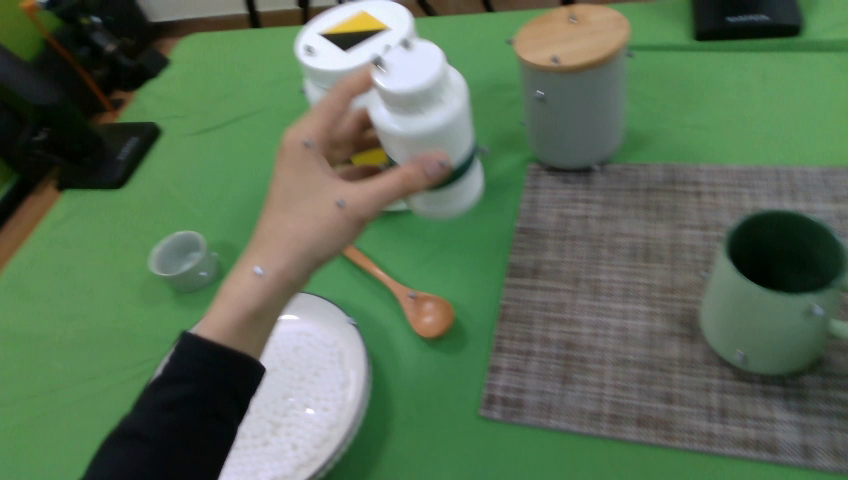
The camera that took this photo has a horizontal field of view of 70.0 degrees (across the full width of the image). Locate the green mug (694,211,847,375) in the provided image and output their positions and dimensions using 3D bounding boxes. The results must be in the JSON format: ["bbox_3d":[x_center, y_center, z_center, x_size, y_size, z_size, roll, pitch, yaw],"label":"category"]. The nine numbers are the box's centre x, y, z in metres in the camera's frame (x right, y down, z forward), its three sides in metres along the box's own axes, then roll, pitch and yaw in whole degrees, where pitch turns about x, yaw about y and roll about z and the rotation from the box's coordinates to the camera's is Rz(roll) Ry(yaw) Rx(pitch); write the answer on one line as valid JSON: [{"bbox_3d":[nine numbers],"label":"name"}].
[{"bbox_3d":[0.273,0.045,0.451,0.124,0.106,0.092,12,54,23],"label":"green mug"}]

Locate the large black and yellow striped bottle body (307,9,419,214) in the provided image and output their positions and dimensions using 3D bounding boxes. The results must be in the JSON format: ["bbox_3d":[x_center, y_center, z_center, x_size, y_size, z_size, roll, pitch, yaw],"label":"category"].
[{"bbox_3d":[-0.045,-0.132,0.640,0.130,0.186,0.129,-8,49,9],"label":"large black and yellow striped bottle body"}]

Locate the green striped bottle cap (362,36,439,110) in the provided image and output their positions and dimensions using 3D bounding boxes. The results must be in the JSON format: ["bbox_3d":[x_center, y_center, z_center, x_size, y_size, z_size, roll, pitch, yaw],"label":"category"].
[{"bbox_3d":[-0.014,-0.099,0.359,0.044,0.020,0.044,-5,60,10],"label":"green striped bottle cap"}]

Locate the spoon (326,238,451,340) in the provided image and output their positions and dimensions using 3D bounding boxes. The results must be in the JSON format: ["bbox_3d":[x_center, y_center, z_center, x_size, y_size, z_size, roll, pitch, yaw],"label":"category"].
[{"bbox_3d":[-0.042,0.040,0.601,0.192,0.022,0.041,35,84,35],"label":"spoon"}]

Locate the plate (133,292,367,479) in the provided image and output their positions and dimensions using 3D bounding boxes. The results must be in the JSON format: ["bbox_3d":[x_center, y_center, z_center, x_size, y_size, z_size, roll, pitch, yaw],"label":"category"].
[{"bbox_3d":[-0.148,0.140,0.535,0.209,0.038,0.207,-7,49,9],"label":"plate"}]

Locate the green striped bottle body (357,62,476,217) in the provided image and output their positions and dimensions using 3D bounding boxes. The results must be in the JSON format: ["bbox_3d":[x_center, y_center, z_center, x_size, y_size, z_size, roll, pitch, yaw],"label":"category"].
[{"bbox_3d":[-0.004,-0.072,0.403,0.063,0.120,0.062,-6,59,11],"label":"green striped bottle body"}]

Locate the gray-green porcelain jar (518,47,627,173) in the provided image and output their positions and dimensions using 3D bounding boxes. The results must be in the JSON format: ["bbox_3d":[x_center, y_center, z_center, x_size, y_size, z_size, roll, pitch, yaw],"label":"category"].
[{"bbox_3d":[0.154,-0.143,0.631,0.106,0.128,0.105,-7,45,8],"label":"gray-green porcelain jar"}]

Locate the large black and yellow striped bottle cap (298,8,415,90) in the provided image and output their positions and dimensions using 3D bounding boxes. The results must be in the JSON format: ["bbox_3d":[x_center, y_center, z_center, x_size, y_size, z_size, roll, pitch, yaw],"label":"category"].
[{"bbox_3d":[-0.064,-0.184,0.577,0.115,0.019,0.114,-7,48,8],"label":"large black and yellow striped bottle cap"}]

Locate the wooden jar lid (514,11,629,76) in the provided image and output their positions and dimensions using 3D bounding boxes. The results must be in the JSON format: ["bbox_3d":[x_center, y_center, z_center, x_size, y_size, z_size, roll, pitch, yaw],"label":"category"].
[{"bbox_3d":[0.142,-0.186,0.587,0.108,0.021,0.107,-10,46,11],"label":"wooden jar lid"}]

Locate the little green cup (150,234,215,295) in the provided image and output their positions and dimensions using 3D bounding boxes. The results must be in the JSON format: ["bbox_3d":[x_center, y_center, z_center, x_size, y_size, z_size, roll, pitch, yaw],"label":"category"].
[{"bbox_3d":[-0.261,0.028,0.661,0.061,0.039,0.061,-8,48,9],"label":"little green cup"}]
